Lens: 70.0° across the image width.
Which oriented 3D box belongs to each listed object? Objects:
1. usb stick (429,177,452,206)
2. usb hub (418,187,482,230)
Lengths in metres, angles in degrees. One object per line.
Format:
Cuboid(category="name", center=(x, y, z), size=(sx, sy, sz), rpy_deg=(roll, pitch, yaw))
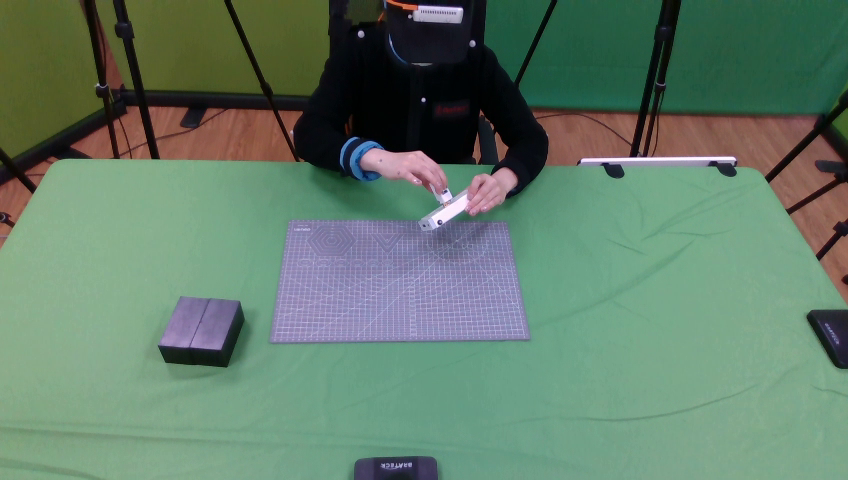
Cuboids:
Cuboid(category="usb stick", center=(0.035, -0.087, 1.133), size=(0.021, 0.059, 0.027), rpy_deg=(-31, 13, -22))
Cuboid(category="usb hub", center=(0.050, -0.060, 1.156), size=(0.125, 0.025, 0.049), rpy_deg=(-34, 14, -22))
